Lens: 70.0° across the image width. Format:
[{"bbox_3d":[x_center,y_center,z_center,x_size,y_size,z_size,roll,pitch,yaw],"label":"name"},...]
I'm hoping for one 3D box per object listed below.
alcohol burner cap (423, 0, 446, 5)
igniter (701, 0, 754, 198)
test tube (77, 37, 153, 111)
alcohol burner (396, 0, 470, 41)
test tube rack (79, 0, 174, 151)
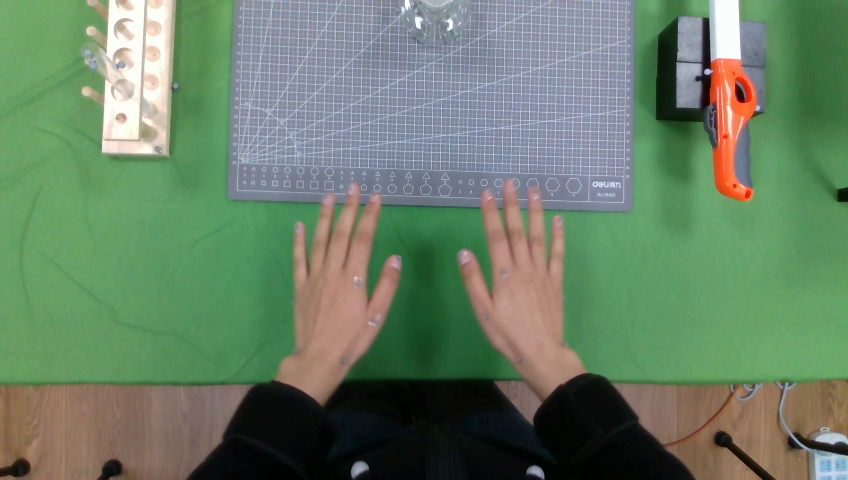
[{"bbox_3d":[0.011,-0.254,0.587,0.034,0.048,0.034,0,88,-1],"label":"alcohol burner cap"},{"bbox_3d":[0.320,-0.181,0.641,0.057,0.025,0.276,0,85,-7],"label":"igniter"},{"bbox_3d":[-0.284,-0.151,0.566,0.017,0.150,0.017,1,83,-7],"label":"test tube"},{"bbox_3d":[0.010,-0.252,0.623,0.078,0.119,0.078,0,88,-2],"label":"alcohol burner"},{"bbox_3d":[-0.304,-0.219,0.616,0.067,0.085,0.242,1,88,-4],"label":"test tube rack"}]
